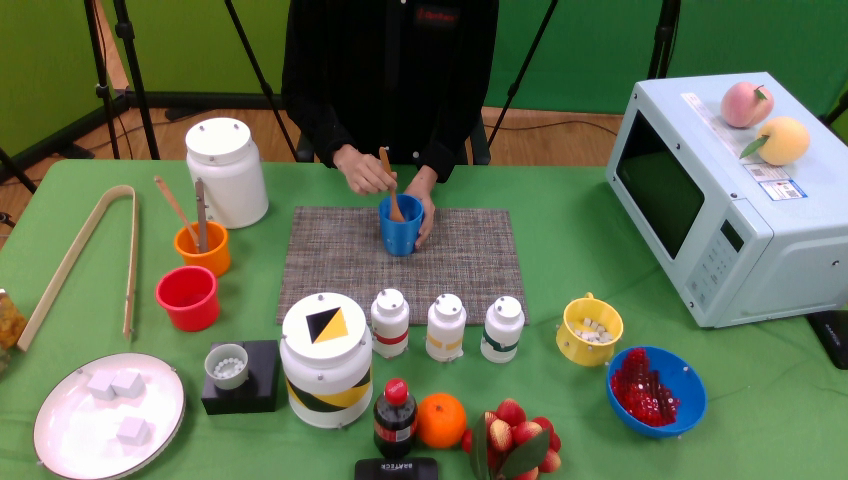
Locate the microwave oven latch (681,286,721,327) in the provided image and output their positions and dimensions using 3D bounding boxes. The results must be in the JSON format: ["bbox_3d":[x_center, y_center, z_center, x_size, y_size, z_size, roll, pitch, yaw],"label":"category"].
[{"bbox_3d":[0.494,0.119,1.087,0.030,0.029,0.078,-5,46,-9],"label":"microwave oven latch"}]

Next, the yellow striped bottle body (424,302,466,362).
[{"bbox_3d":[0.035,0.143,0.995,0.063,0.121,0.062,3,46,-3],"label":"yellow striped bottle body"}]

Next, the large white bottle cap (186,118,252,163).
[{"bbox_3d":[-0.377,-0.185,1.115,0.115,0.018,0.114,2,47,-2],"label":"large white bottle cap"}]

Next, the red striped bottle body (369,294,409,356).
[{"bbox_3d":[-0.059,0.134,0.997,0.063,0.120,0.062,5,48,-5],"label":"red striped bottle body"}]

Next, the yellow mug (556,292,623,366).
[{"bbox_3d":[0.285,0.145,1.051,0.100,0.064,0.130,7,46,4],"label":"yellow mug"}]

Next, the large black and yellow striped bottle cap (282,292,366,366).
[{"bbox_3d":[-0.138,0.121,0.841,0.115,0.019,0.114,3,47,-3],"label":"large black and yellow striped bottle cap"}]

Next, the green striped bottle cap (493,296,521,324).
[{"bbox_3d":[0.133,0.111,0.962,0.044,0.020,0.044,2,47,-2],"label":"green striped bottle cap"}]

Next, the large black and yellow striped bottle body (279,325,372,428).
[{"bbox_3d":[-0.143,0.181,0.900,0.131,0.185,0.130,2,46,-2],"label":"large black and yellow striped bottle body"}]

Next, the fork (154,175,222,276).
[{"bbox_3d":[-0.431,-0.026,1.101,0.028,0.018,0.207,-33,100,-25],"label":"fork"}]

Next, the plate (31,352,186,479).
[{"bbox_3d":[-0.459,0.262,0.898,0.209,0.038,0.208,2,46,-2],"label":"plate"}]

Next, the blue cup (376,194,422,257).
[{"bbox_3d":[-0.050,-0.022,1.158,0.093,0.101,0.092,3,45,-3],"label":"blue cup"}]

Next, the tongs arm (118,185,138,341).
[{"bbox_3d":[-0.555,0.028,1.116,0.051,0.026,0.382,-11,47,-8],"label":"tongs arm"}]

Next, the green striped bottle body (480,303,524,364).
[{"bbox_3d":[0.129,0.147,1.000,0.063,0.120,0.063,2,46,-2],"label":"green striped bottle body"}]

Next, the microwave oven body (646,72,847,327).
[{"bbox_3d":[0.607,-0.089,1.164,0.326,0.261,0.438,-7,46,-10],"label":"microwave oven body"}]

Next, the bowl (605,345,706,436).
[{"bbox_3d":[0.351,0.248,0.950,0.151,0.077,0.150,2,46,-2],"label":"bowl"}]

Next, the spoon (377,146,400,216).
[{"bbox_3d":[-0.063,-0.085,1.091,0.041,0.195,0.021,7,38,21],"label":"spoon"}]

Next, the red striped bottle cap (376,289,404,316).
[{"bbox_3d":[-0.054,0.098,0.958,0.044,0.018,0.044,0,48,1],"label":"red striped bottle cap"}]

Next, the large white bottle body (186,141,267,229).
[{"bbox_3d":[-0.383,-0.127,1.175,0.131,0.185,0.130,2,47,-2],"label":"large white bottle body"}]

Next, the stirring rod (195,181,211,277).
[{"bbox_3d":[-0.403,-0.020,1.104,0.014,0.006,0.176,-6,89,-9],"label":"stirring rod"}]

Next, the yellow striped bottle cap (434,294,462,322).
[{"bbox_3d":[0.038,0.107,0.958,0.044,0.019,0.044,2,45,-2],"label":"yellow striped bottle cap"}]

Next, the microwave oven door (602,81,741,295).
[{"bbox_3d":[0.456,-0.107,1.162,0.039,0.245,0.353,-7,47,-11],"label":"microwave oven door"}]

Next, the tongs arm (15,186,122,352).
[{"bbox_3d":[-0.642,0.036,1.107,0.028,0.028,0.385,-2,46,5],"label":"tongs arm"}]

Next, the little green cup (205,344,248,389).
[{"bbox_3d":[-0.294,0.191,0.909,0.061,0.039,0.061,1,47,-1],"label":"little green cup"}]
